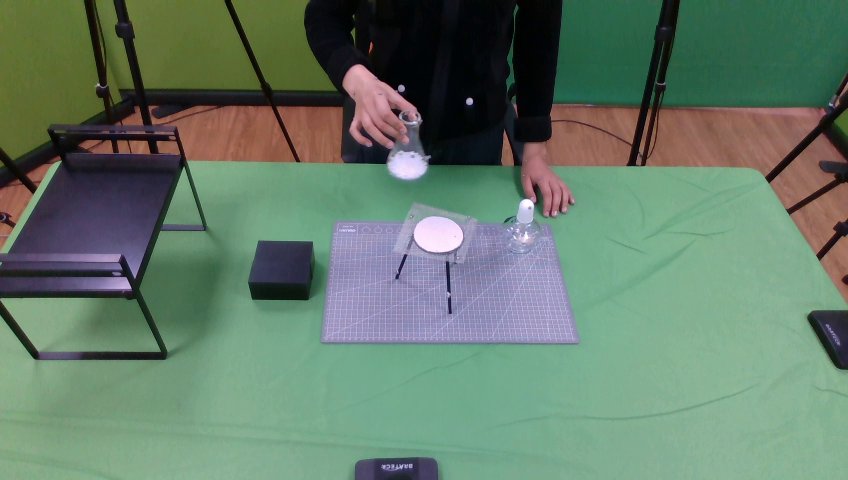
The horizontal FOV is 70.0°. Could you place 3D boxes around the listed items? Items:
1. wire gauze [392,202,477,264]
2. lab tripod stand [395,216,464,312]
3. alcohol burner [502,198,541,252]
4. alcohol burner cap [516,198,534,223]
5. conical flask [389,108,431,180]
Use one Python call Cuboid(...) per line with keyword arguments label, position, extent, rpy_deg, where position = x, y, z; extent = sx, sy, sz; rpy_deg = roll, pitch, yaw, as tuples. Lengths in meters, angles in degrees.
Cuboid(label="wire gauze", position=(0.021, -0.012, 1.037), extent=(0.121, 0.011, 0.124), rpy_deg=(14, 47, 8))
Cuboid(label="lab tripod stand", position=(0.023, 0.036, 1.084), extent=(0.148, 0.132, 0.147), rpy_deg=(4, 46, -4))
Cuboid(label="alcohol burner", position=(0.192, -0.034, 1.178), extent=(0.078, 0.119, 0.077), rpy_deg=(3, 45, -2))
Cuboid(label="alcohol burner cap", position=(0.194, -0.059, 1.152), extent=(0.034, 0.048, 0.033), rpy_deg=(0, 50, 0))
Cuboid(label="conical flask", position=(-0.024, -0.169, 1.046), extent=(0.075, 0.122, 0.075), rpy_deg=(1, 51, -1))
